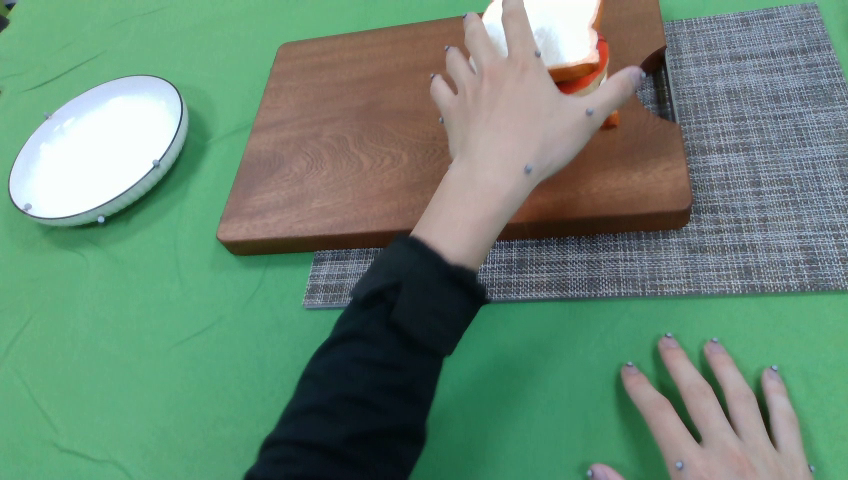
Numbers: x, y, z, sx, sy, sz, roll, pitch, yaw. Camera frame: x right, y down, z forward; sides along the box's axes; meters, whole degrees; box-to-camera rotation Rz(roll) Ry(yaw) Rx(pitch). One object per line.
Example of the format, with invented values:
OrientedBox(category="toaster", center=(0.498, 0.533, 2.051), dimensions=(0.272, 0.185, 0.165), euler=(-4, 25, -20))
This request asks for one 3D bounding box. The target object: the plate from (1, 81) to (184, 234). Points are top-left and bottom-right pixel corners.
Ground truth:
OrientedBox(category="plate", center=(-0.356, -0.090, 0.667), dimensions=(0.209, 0.038, 0.207), euler=(-8, 55, 12))

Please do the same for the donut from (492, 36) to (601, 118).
OrientedBox(category="donut", center=(0.099, -0.145, 0.511), dimensions=(0.099, 0.049, 0.098), euler=(-8, 55, 13))

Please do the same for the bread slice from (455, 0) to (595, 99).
OrientedBox(category="bread slice", center=(0.086, -0.169, 0.495), dimensions=(0.106, 0.018, 0.133), euler=(-5, 52, 24))

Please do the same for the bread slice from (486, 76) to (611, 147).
OrientedBox(category="bread slice", center=(0.105, -0.142, 0.544), dimensions=(0.105, 0.019, 0.130), euler=(-6, 56, 11))
